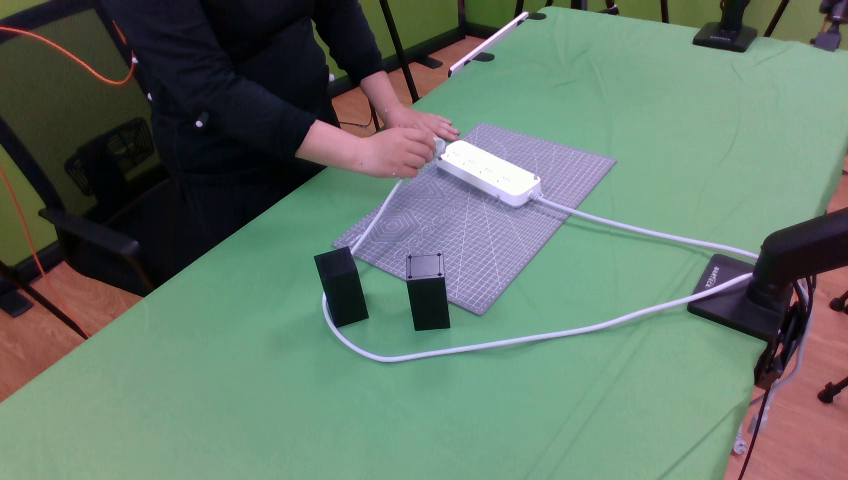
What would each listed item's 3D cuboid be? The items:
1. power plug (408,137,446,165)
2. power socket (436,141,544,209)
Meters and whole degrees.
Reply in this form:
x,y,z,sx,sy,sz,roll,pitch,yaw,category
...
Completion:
x,y,z,sx,sy,sz,roll,pitch,yaw,category
0.004,-0.144,1.009,0.072,0.053,0.035,-37,51,2,power plug
0.112,-0.120,1.082,0.072,0.033,0.224,-34,47,-27,power socket
